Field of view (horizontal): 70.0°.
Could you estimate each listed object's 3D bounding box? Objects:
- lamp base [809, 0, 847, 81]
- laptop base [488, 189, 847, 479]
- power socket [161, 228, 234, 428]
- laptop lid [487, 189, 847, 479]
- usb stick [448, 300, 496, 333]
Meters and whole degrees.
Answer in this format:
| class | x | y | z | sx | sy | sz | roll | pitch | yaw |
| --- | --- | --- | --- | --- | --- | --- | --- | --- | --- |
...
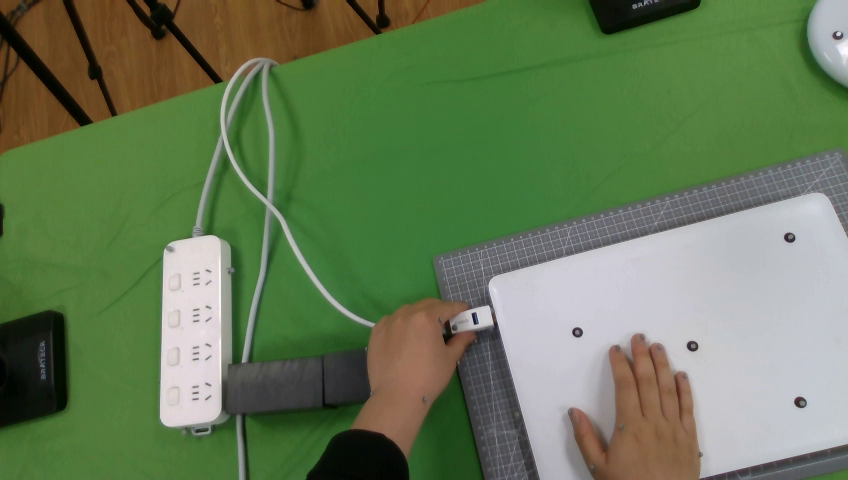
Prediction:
| class | x | y | z | sx | sy | sz | roll | pitch | yaw |
| --- | --- | --- | --- | --- | --- | --- | --- | --- | --- |
| lamp base | 0.496 | -0.265 | 0.585 | 0.160 | 0.181 | 0.178 | 18 | 74 | 14 |
| laptop base | 0.259 | 0.099 | 0.598 | 0.354 | 0.023 | 0.234 | -15 | 75 | 4 |
| power socket | -0.252 | 0.092 | 0.678 | 0.072 | 0.033 | 0.225 | -8 | 72 | 7 |
| laptop lid | 0.258 | 0.099 | 0.587 | 0.356 | 0.013 | 0.240 | -13 | 74 | 5 |
| usb stick | 0.056 | 0.078 | 0.626 | 0.059 | 0.027 | 0.021 | -13 | 68 | 3 |
